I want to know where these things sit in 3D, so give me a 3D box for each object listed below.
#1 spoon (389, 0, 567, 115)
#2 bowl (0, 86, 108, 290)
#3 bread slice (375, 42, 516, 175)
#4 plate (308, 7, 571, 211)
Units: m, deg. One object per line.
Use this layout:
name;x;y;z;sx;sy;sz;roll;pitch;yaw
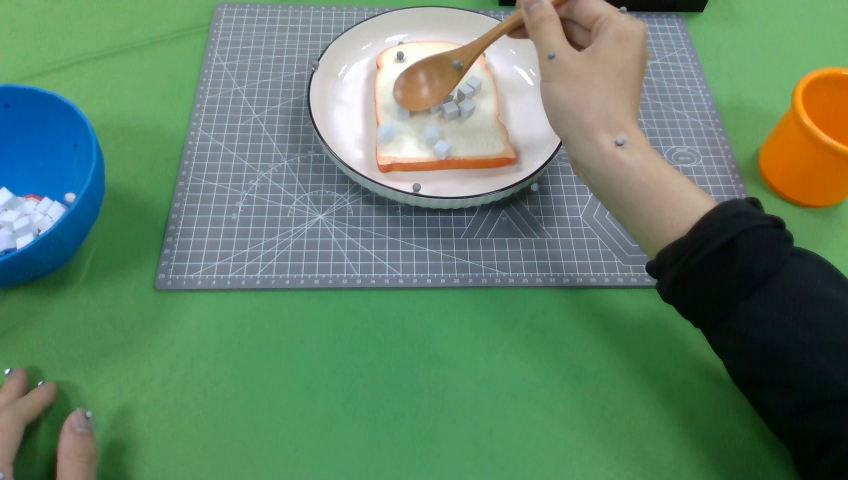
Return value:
spoon;0.053;-0.144;0.425;0.193;0.022;0.041;-27;68;31
bowl;-0.280;-0.021;0.405;0.151;0.077;0.150;1;59;-2
bread slice;0.009;-0.110;0.499;0.107;0.018;0.133;-7;61;-7
plate;0.012;-0.107;0.494;0.209;0.038;0.207;1;59;-2
